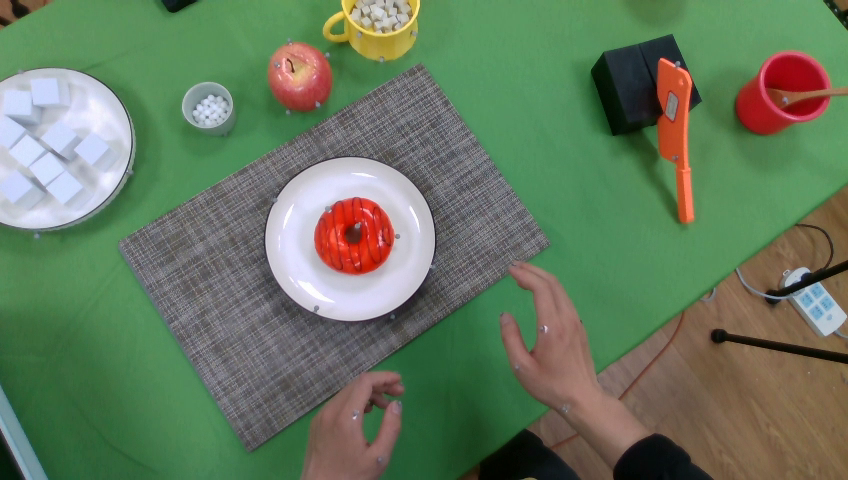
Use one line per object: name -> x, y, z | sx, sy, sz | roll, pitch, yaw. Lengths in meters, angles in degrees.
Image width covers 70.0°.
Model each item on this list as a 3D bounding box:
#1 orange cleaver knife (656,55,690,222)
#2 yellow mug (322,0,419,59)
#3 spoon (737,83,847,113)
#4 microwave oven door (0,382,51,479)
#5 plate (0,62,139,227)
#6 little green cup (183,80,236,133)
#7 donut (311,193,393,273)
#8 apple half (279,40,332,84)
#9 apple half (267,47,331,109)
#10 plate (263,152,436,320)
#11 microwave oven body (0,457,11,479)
orange cleaver knife -> 0.320, -0.128, 0.781 | 0.012, 0.076, 0.213 | -14, 113, -5
yellow mug -> -0.072, -0.293, 0.792 | 0.131, 0.064, 0.099 | -23, 81, -7
spoon -> 0.509, -0.190, 0.778 | 0.192, 0.022, 0.041 | 2, 70, 41
microwave oven door -> -0.409, 0.269, 0.553 | 0.039, 0.244, 0.354 | -31, 83, -9
plate -> -0.455, -0.115, 0.743 | 0.208, 0.039, 0.206 | 1, 79, -4
little green cup -> -0.269, -0.166, 0.767 | 0.061, 0.039, 0.061 | 1, 79, -4
donut -> -0.088, -0.008, 0.737 | 0.099, 0.048, 0.098 | 1, 82, -4
apple half -> -0.145, -0.229, 0.770 | 0.081, 0.081, 0.032 | 29, 83, 2
apple half -> -0.164, -0.195, 0.764 | 0.081, 0.074, 0.053 | 30, 83, -2
plate -> -0.090, -0.004, 0.747 | 0.209, 0.038, 0.208 | 1, 80, -4
microwave oven body -> -0.556, 0.306, 0.540 | 0.326, 0.261, 0.440 | -31, 84, -10
